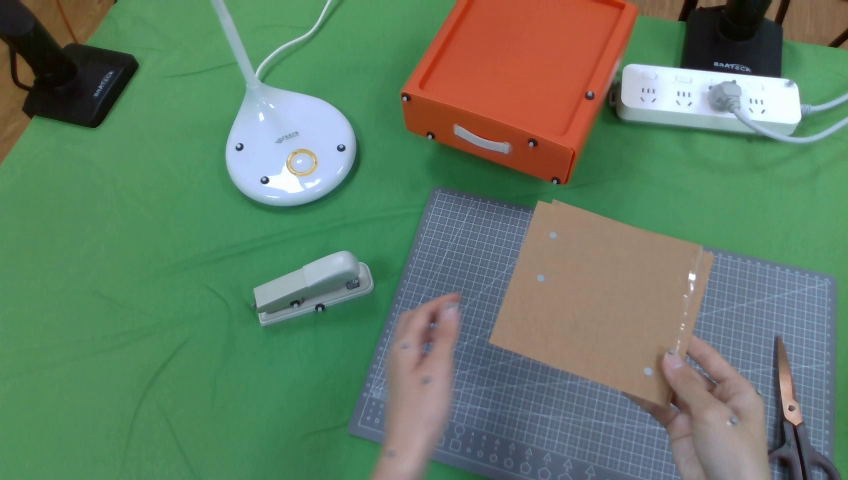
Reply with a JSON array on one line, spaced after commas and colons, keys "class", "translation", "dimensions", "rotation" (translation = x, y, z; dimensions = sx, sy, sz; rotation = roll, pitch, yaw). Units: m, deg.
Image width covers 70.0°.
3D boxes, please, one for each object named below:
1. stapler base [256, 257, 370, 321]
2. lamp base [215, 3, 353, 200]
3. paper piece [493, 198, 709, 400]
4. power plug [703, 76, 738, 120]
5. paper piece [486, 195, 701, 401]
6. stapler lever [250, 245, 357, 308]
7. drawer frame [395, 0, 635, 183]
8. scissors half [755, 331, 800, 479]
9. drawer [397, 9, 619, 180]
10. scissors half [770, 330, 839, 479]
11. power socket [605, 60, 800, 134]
[{"class": "stapler base", "translation": [-0.125, 0.049, 0.664], "dimensions": [0.130, 0.024, 0.041], "rotation": [-18, 61, -4]}, {"class": "lamp base", "translation": [-0.180, -0.162, 0.683], "dimensions": [0.160, 0.182, 0.177], "rotation": [-37, 64, -15]}, {"class": "paper piece", "translation": [0.143, 0.040, 0.487], "dimensions": [0.134, 0.004, 0.135], "rotation": [22, 68, 21]}, {"class": "power plug", "translation": [0.343, -0.160, 0.709], "dimensions": [0.035, 0.053, 0.072], "rotation": [18, 66, 12]}, {"class": "paper piece", "translation": [0.134, 0.039, 0.476], "dimensions": [0.135, 0.009, 0.137], "rotation": [18, 69, 14]}, {"class": "stapler lever", "translation": [-0.129, 0.038, 0.641], "dimensions": [0.118, 0.040, 0.026], "rotation": [-18, 60, -3]}, {"class": "drawer frame", "translation": [0.105, -0.199, 0.695], "dimensions": [0.201, 0.083, 0.212], "rotation": [22, 68, 14]}, {"class": "scissors half", "translation": [0.337, 0.166, 0.580], "dimensions": [0.040, 0.013, 0.174], "rotation": [17, 61, 1]}, {"class": "drawer", "translation": [0.103, -0.195, 0.690], "dimensions": [0.193, 0.074, 0.211], "rotation": [22, 66, 14]}, {"class": "scissors half", "translation": [0.357, 0.168, 0.580], "dimensions": [0.040, 0.013, 0.173], "rotation": [-1, 62, -2]}, {"class": "power socket", "translation": [0.341, -0.176, 0.743], "dimensions": [0.226, 0.033, 0.071], "rotation": [8, 65, 7]}]
